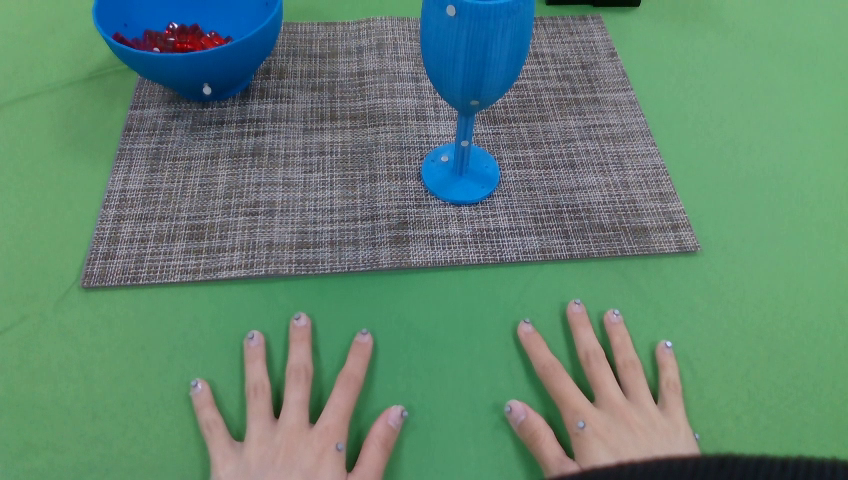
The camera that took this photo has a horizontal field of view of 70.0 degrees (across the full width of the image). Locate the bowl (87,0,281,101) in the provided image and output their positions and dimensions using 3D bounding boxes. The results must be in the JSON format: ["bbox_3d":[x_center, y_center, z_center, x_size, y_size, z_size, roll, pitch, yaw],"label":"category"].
[{"bbox_3d":[-0.194,-0.175,0.521,0.151,0.077,0.150,1,54,-1],"label":"bowl"}]

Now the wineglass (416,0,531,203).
[{"bbox_3d":[0.029,-0.106,0.424,0.074,0.173,0.073,1,54,-1],"label":"wineglass"}]
